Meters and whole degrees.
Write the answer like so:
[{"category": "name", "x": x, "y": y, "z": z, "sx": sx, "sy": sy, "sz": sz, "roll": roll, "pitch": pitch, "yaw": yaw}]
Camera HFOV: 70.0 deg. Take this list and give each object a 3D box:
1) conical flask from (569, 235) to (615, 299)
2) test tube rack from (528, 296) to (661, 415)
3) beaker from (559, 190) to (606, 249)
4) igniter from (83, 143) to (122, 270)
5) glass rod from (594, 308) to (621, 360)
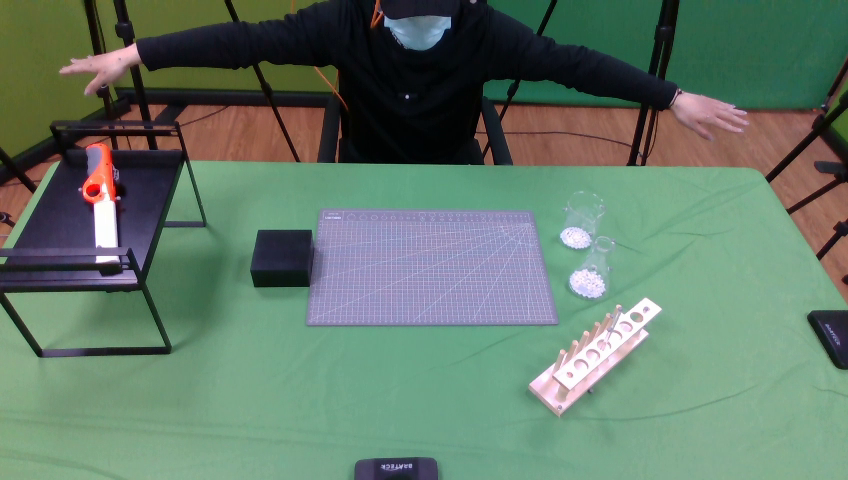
[{"category": "conical flask", "x": 0.314, "y": 0.046, "z": 1.108, "sx": 0.075, "sy": 0.122, "sz": 0.075, "roll": 2, "pitch": 47, "yaw": -2}, {"category": "test tube rack", "x": 0.285, "y": 0.178, "z": 1.005, "sx": 0.242, "sy": 0.085, "sz": 0.066, "roll": -31, "pitch": 55, "yaw": -29}, {"category": "beaker", "x": 0.312, "y": -0.036, "z": 1.202, "sx": 0.074, "sy": 0.101, "sz": 0.083, "roll": -3, "pitch": 47, "yaw": -6}, {"category": "igniter", "x": -0.508, "y": -0.063, "z": 0.962, "sx": 0.057, "sy": 0.025, "sz": 0.274, "roll": -14, "pitch": 53, "yaw": -18}, {"category": "glass rod", "x": 0.278, "y": 0.155, "z": 0.935, "sx": 0.008, "sy": 0.201, "sz": 0.008, "roll": -1, "pitch": 54, "yaw": 1}]
